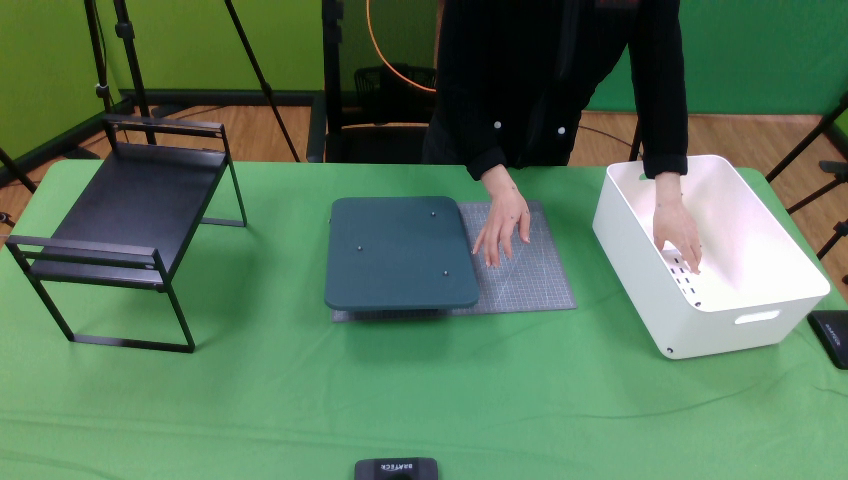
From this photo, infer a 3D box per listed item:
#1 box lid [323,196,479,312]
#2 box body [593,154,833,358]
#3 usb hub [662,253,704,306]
[{"bbox_3d":[-0.049,0.011,1.136,0.263,0.015,0.369,-1,33,-6],"label":"box lid"},{"bbox_3d":[0.496,0.023,1.112,0.254,0.161,0.361,-7,47,-10],"label":"box body"},{"bbox_3d":[0.478,0.075,1.155,0.049,0.025,0.124,-5,40,-8],"label":"usb hub"}]
